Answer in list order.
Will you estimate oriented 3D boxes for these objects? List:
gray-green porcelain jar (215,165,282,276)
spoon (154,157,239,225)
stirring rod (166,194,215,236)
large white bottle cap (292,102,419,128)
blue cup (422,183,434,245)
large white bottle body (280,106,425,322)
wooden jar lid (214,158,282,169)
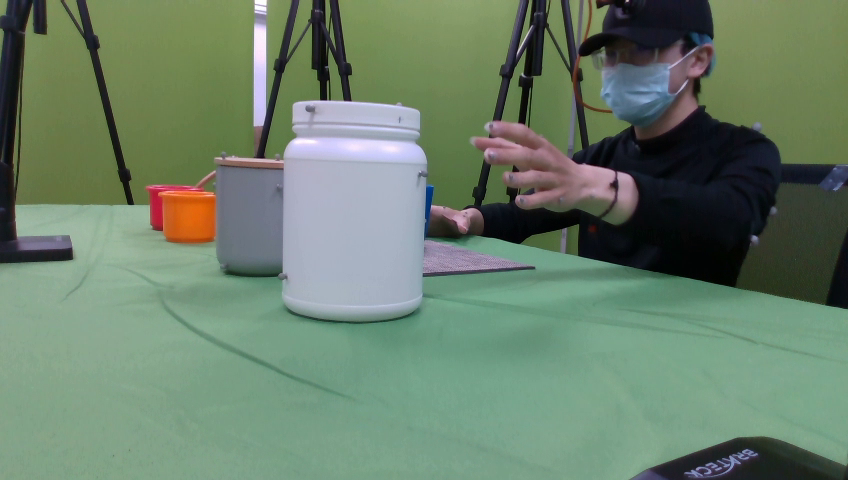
[{"bbox_3d":[-0.195,-0.024,0.726,0.106,0.126,0.106,3,7,0],"label":"gray-green porcelain jar"},{"bbox_3d":[-0.411,-0.092,1.104,0.194,0.022,0.041,-50,33,-20],"label":"spoon"},{"bbox_3d":[-0.341,-0.066,0.967,0.176,0.006,0.014,-42,23,-9],"label":"stirring rod"},{"bbox_3d":[-0.061,-0.111,0.547,0.115,0.018,0.115,2,8,0],"label":"large white bottle cap"},{"bbox_3d":[-0.029,-0.042,0.979,0.093,0.100,0.092,2,9,0],"label":"blue cup"},{"bbox_3d":[-0.065,-0.028,0.559,0.131,0.184,0.130,2,7,0],"label":"large white bottle body"},{"bbox_3d":[-0.193,-0.085,0.719,0.108,0.020,0.108,2,9,0],"label":"wooden jar lid"}]
